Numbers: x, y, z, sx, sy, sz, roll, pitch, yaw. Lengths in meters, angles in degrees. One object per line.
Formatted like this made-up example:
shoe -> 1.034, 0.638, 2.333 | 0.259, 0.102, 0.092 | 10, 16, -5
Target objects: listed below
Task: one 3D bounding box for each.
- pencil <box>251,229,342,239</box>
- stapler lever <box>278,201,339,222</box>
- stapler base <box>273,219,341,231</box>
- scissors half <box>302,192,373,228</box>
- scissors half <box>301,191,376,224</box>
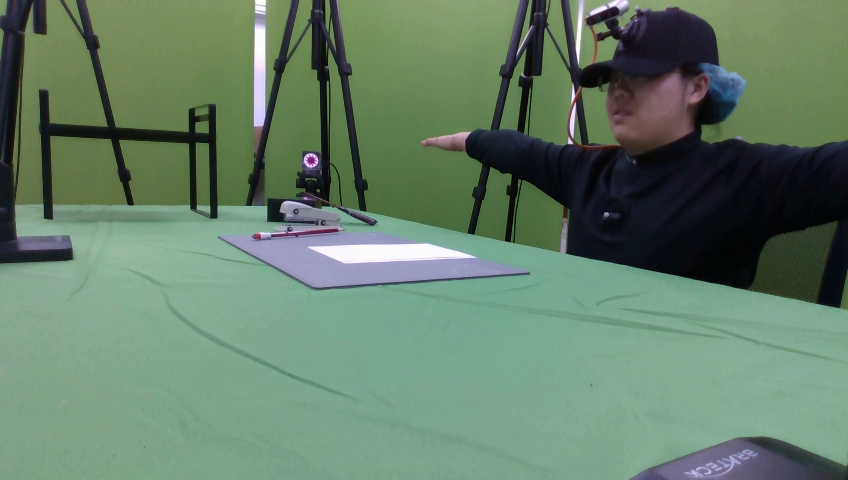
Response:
pencil -> -0.215, -0.011, 1.049 | 0.012, 0.012, 0.195 | 9, 9, 39
stapler lever -> -0.223, -0.055, 1.170 | 0.119, 0.040, 0.026 | -1, 11, -34
stapler base -> -0.225, -0.031, 1.172 | 0.131, 0.024, 0.041 | 0, 10, -34
scissors half -> -0.191, -0.068, 1.314 | 0.175, 0.013, 0.040 | 26, 18, 7
scissors half -> -0.189, -0.073, 1.334 | 0.175, 0.013, 0.040 | 22, 12, -10
